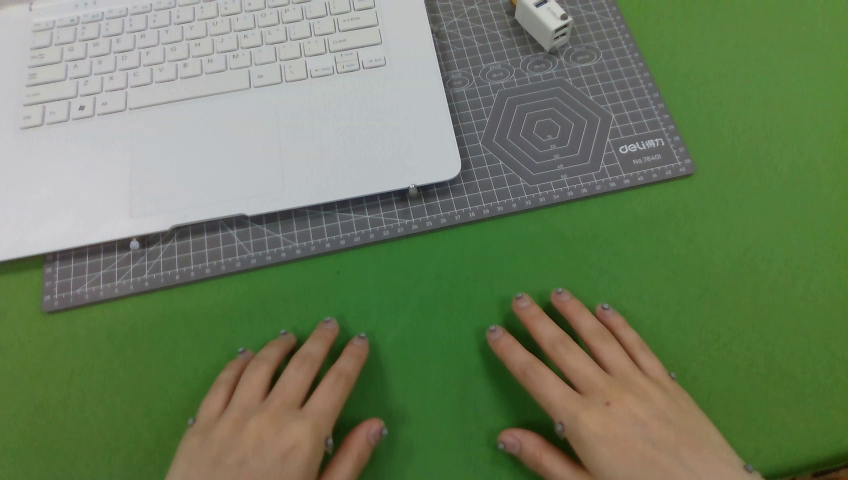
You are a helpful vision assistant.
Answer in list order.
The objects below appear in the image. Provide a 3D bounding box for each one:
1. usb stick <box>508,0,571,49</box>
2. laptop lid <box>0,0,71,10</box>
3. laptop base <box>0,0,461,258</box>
[{"bbox_3d":[0.087,-0.179,0.471,0.021,0.027,0.058,-32,65,-11],"label":"usb stick"},{"bbox_3d":[-0.199,-0.310,0.434,0.357,0.244,0.013,-11,40,-1],"label":"laptop lid"},{"bbox_3d":[-0.165,-0.116,0.461,0.354,0.023,0.233,-10,68,-2],"label":"laptop base"}]
